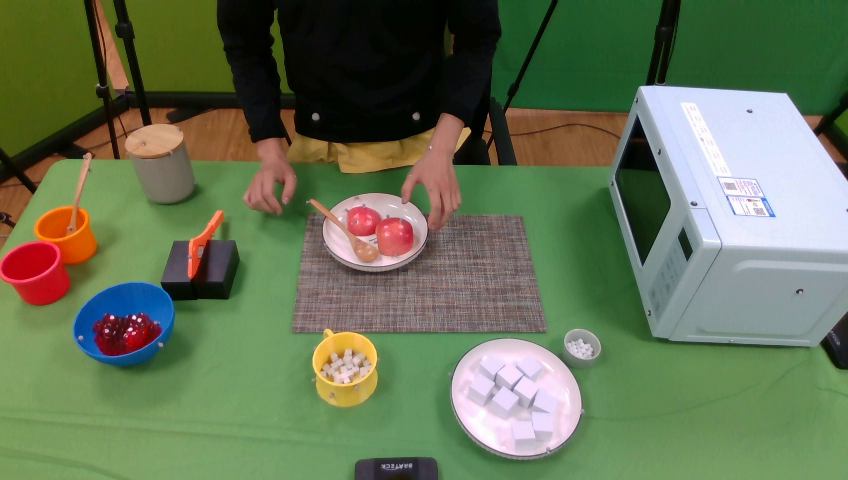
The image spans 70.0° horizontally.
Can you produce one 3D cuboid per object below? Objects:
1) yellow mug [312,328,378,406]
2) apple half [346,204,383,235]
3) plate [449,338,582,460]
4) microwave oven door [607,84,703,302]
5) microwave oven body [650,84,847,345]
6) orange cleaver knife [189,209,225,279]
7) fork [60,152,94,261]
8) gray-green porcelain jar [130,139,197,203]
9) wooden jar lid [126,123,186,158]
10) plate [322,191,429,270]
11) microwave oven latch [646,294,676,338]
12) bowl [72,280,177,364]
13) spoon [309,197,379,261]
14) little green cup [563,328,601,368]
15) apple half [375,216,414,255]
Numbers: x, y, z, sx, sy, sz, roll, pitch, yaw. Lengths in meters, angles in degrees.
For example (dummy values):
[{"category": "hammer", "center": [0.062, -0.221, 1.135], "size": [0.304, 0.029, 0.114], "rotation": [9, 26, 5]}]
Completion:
[{"category": "yellow mug", "center": [-0.132, 0.193, 0.971], "size": [0.100, 0.064, 0.130], "rotation": [-22, 51, -22]}, {"category": "apple half", "center": [-0.119, -0.049, 1.207], "size": [0.081, 0.033, 0.081], "rotation": [2, 50, -2]}, {"category": "plate", "center": [0.141, 0.251, 0.956], "size": [0.208, 0.039, 0.206], "rotation": [2, 46, -2]}, {"category": "microwave oven door", "center": [0.424, -0.096, 1.138], "size": [0.039, 0.245, 0.353], "rotation": [2, 47, -1]}, {"category": "microwave oven body", "center": [0.569, -0.054, 1.116], "size": [0.326, 0.261, 0.439], "rotation": [2, 46, -1]}, {"category": "orange cleaver knife", "center": [-0.401, 0.002, 1.122], "size": [0.012, 0.077, 0.210], "rotation": [4, 23, -4]}, {"category": "fork", "center": [-0.637, -0.063, 1.119], "size": [0.028, 0.019, 0.207], "rotation": [11, 90, 16]}, {"category": "gray-green porcelain jar", "center": [-0.522, -0.148, 1.225], "size": [0.106, 0.127, 0.105], "rotation": [2, 47, -2]}, {"category": "wooden jar lid", "center": [-0.519, -0.190, 1.179], "size": [0.108, 0.021, 0.107], "rotation": [2, 44, -2]}, {"category": "plate", "center": [-0.094, -0.015, 1.185], "size": [0.209, 0.038, 0.208], "rotation": [2, 46, -2]}, {"category": "microwave oven latch", "center": [0.413, 0.133, 1.061], "size": [0.030, 0.029, 0.078], "rotation": [3, 46, 1]}, {"category": "bowl", "center": [-0.473, 0.147, 0.982], "size": [0.151, 0.077, 0.150], "rotation": [2, 46, -2]}, {"category": "spoon", "center": [-0.158, -0.025, 1.172], "size": [0.041, 0.022, 0.193], "rotation": [-40, 72, -20]}, {"category": "little green cup", "center": [0.266, 0.185, 1.025], "size": [0.061, 0.039, 0.061], "rotation": [1, 45, -1]}, {"category": "apple half", "center": [-0.056, -0.017, 1.169], "size": [0.075, 0.053, 0.080], "rotation": [0, 47, -7]}]
